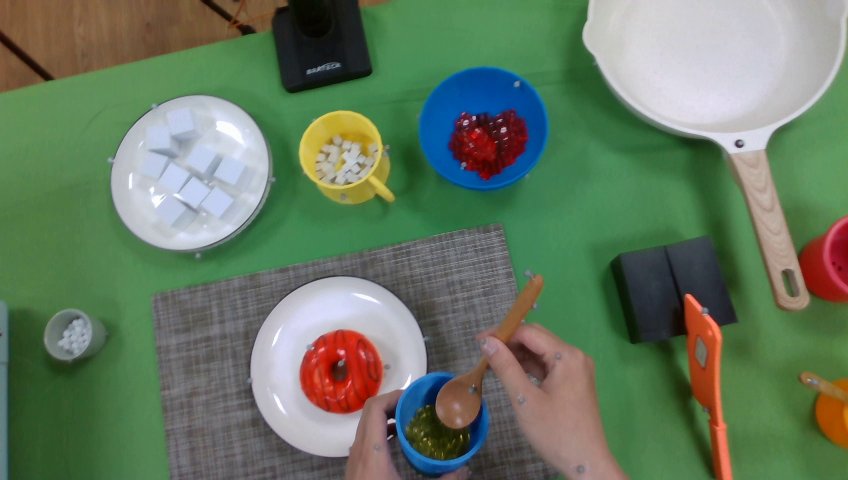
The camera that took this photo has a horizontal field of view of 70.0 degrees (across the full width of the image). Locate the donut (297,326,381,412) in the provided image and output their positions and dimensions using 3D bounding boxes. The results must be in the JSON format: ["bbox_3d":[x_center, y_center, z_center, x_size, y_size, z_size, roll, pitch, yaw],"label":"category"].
[{"bbox_3d":[-0.097,0.148,0.696,0.099,0.048,0.098,-1,82,5],"label":"donut"}]

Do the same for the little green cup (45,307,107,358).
[{"bbox_3d":[-0.426,0.114,0.747,0.061,0.039,0.061,-1,80,4],"label":"little green cup"}]

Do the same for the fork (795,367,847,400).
[{"bbox_3d":[0.423,0.158,0.607,0.209,0.018,0.028,26,79,-34],"label":"fork"}]

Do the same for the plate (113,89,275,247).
[{"bbox_3d":[-0.290,-0.090,0.776,0.207,0.039,0.206,-1,79,5],"label":"plate"}]

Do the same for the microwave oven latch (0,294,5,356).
[{"bbox_3d":[-0.534,0.104,0.740,0.030,0.029,0.079,-5,79,3],"label":"microwave oven latch"}]

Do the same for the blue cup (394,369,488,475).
[{"bbox_3d":[0.013,0.184,0.587,0.093,0.101,0.092,2,56,-3],"label":"blue cup"}]

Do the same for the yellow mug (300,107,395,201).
[{"bbox_3d":[-0.084,-0.094,0.745,0.130,0.064,0.100,41,85,10],"label":"yellow mug"}]

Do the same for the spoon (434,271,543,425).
[{"bbox_3d":[0.055,0.097,0.515,0.041,0.195,0.021,37,41,14],"label":"spoon"}]

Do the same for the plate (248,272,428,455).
[{"bbox_3d":[-0.099,0.142,0.709,0.209,0.038,0.208,-1,79,5],"label":"plate"}]

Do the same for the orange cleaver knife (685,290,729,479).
[{"bbox_3d":[0.303,0.158,0.652,0.012,0.077,0.212,-12,107,3],"label":"orange cleaver knife"}]

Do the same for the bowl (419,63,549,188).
[{"bbox_3d":[0.072,-0.127,0.732,0.151,0.077,0.150,-1,79,5],"label":"bowl"}]

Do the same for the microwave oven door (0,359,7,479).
[{"bbox_3d":[-0.516,0.295,0.596,0.039,0.245,0.354,-9,78,4],"label":"microwave oven door"}]

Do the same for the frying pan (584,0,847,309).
[{"bbox_3d":[0.352,-0.157,0.699,0.307,0.103,0.484,-7,70,5],"label":"frying pan"}]
